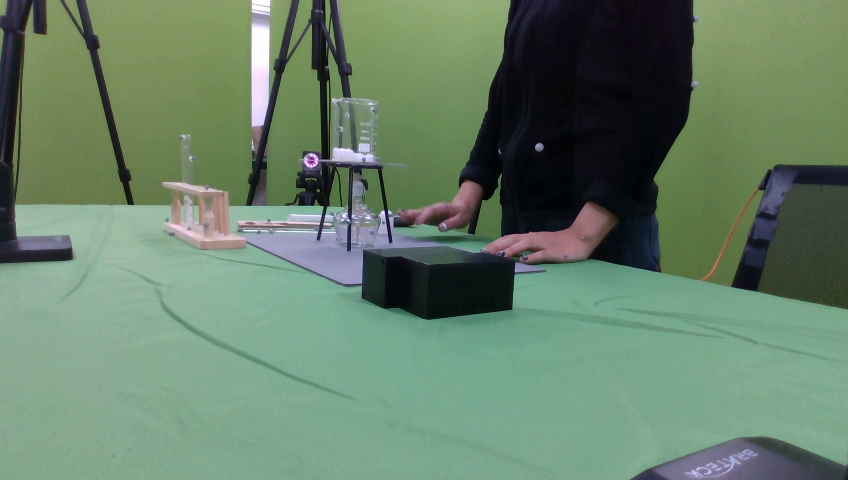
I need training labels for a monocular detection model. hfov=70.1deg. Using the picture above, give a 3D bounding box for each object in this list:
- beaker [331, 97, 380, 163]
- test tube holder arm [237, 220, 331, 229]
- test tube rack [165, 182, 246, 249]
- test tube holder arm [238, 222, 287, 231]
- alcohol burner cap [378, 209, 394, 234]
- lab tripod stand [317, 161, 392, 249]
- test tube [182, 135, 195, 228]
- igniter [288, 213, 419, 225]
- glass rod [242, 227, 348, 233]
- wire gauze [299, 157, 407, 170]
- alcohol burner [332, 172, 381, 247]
[{"bbox_3d":[-0.111,-0.171,0.950,0.073,0.100,0.084,12,12,42],"label":"beaker"},{"bbox_3d":[-0.260,-0.028,1.140,0.179,0.015,0.013,-1,40,-32],"label":"test tube holder arm"},{"bbox_3d":[-0.360,-0.045,0.982,0.067,0.085,0.241,-3,9,-34],"label":"test tube rack"},{"bbox_3d":[-0.296,-0.024,1.112,0.088,0.015,0.010,-1,40,-32],"label":"test tube holder arm"},{"bbox_3d":[-0.072,-0.035,1.145,0.034,0.048,0.034,2,7,0],"label":"alcohol burner cap"},{"bbox_3d":[-0.111,-0.059,0.964,0.148,0.131,0.148,4,8,0],"label":"lab tripod stand"},{"bbox_3d":[-0.382,-0.095,0.983,0.017,0.150,0.017,-1,2,0],"label":"test tube"},{"bbox_3d":[-0.145,-0.044,1.278,0.278,0.025,0.057,-1,-2,-21],"label":"igniter"},{"bbox_3d":[-0.232,-0.017,1.110,0.201,0.008,0.008,1,6,-30],"label":"glass rod"},{"bbox_3d":[-0.112,-0.124,0.959,0.121,0.011,0.126,13,12,40],"label":"wire gauze"},{"bbox_3d":[-0.107,-0.048,0.961,0.078,0.119,0.078,1,9,0],"label":"alcohol burner"}]
